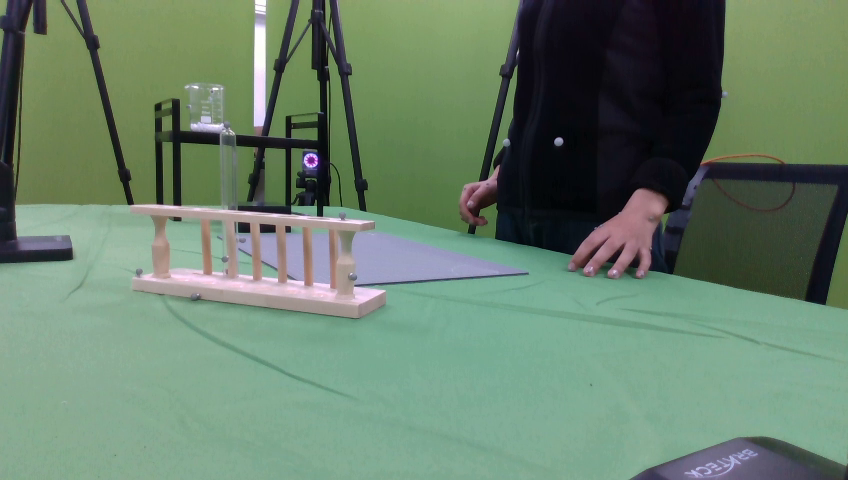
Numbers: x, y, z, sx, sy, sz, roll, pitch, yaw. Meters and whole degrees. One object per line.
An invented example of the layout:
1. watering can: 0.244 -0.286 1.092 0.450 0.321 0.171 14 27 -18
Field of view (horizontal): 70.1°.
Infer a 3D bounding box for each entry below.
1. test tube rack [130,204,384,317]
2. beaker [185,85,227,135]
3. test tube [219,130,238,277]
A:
1. test tube rack: -0.163 0.013 0.589 0.242 0.085 0.067 5 8 17
2. beaker: -0.460 -0.275 1.282 0.084 0.100 0.073 -3 8 -27
3. test tube: -0.198 -0.036 0.613 0.017 0.150 0.017 2 8 0
